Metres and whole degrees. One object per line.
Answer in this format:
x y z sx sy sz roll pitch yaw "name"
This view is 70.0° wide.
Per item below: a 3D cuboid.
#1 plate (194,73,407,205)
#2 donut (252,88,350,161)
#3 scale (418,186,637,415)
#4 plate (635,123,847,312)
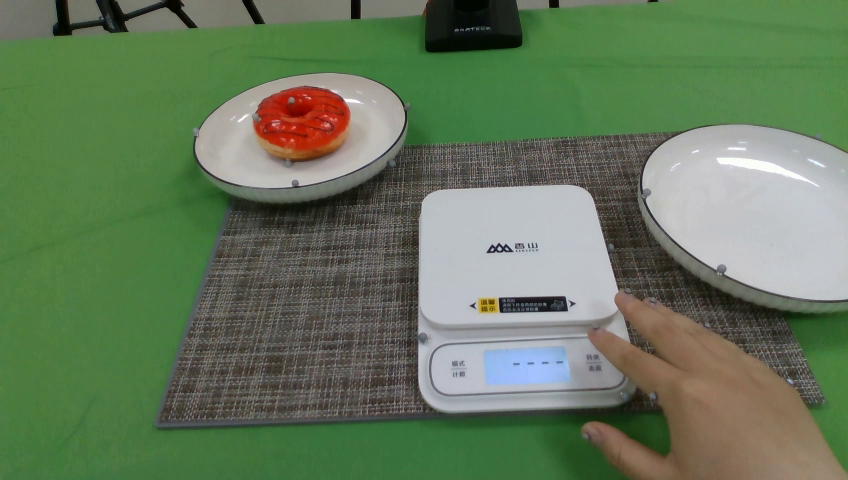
-0.120 -0.100 0.607 0.209 0.038 0.207 -3 44 3 "plate"
-0.122 -0.115 0.608 0.099 0.049 0.098 -2 44 2 "donut"
0.070 0.035 0.463 0.148 0.032 0.199 -3 47 3 "scale"
0.277 -0.021 0.495 0.208 0.039 0.205 -1 46 1 "plate"
